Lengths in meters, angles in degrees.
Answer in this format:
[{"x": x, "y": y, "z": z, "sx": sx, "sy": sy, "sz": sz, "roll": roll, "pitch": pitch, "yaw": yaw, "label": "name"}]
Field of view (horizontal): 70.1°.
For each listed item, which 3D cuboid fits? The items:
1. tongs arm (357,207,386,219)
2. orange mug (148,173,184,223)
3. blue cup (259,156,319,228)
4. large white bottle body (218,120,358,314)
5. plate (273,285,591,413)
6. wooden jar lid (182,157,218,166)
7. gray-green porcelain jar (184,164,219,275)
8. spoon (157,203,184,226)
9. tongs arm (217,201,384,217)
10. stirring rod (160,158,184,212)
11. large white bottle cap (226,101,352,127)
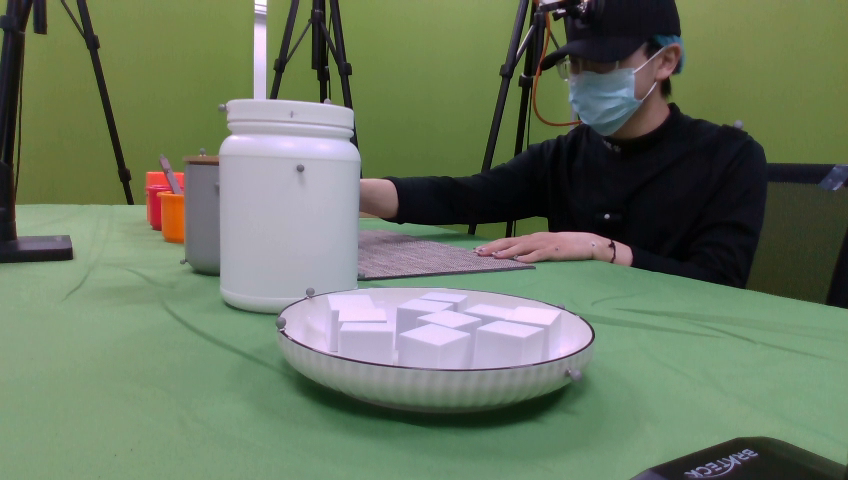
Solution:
[{"x": -0.251, "y": -0.063, "z": 1.360, "sx": 0.387, "sy": 0.026, "sz": 0.050, "roll": -1, "pitch": 5, "yaw": -31, "label": "tongs arm"}, {"x": -0.490, "y": -0.087, "z": 1.222, "sx": 0.127, "sy": 0.101, "sz": 0.083, "roll": -9, "pitch": 13, "yaw": -38, "label": "orange mug"}, {"x": -0.201, "y": -0.071, "z": 0.894, "sx": 0.093, "sy": 0.100, "sz": 0.092, "roll": 5, "pitch": 8, "yaw": 0, "label": "blue cup"}, {"x": -0.128, "y": -0.032, "z": 0.578, "sx": 0.131, "sy": 0.184, "sz": 0.130, "roll": 2, "pitch": 7, "yaw": 0, "label": "large white bottle body"}, {"x": 0.005, "y": 0.069, "z": 0.408, "sx": 0.208, "sy": 0.039, "sz": 0.207, "roll": 2, "pitch": 7, "yaw": 0, "label": "plate"}, {"x": -0.227, "y": -0.086, "z": 0.714, "sx": 0.108, "sy": 0.020, "sz": 0.108, "roll": 1, "pitch": 6, "yaw": 0, "label": "wooden jar lid"}, {"x": -0.230, "y": -0.025, "z": 0.722, "sx": 0.106, "sy": 0.126, "sz": 0.106, "roll": 3, "pitch": 7, "yaw": 0, "label": "gray-green porcelain jar"}, {"x": -0.425, "y": -0.094, "z": 1.117, "sx": 0.041, "sy": 0.022, "sz": 0.194, "roll": 4, "pitch": 51, "yaw": 29, "label": "spoon"}, {"x": -0.287, "y": -0.073, "z": 1.434, "sx": 0.389, "sy": 0.027, "sz": 0.028, "roll": 1, "pitch": 1, "yaw": -17, "label": "tongs arm"}, {"x": -0.391, "y": -0.070, "z": 0.972, "sx": 0.014, "sy": 0.006, "sz": 0.175, "roll": -1, "pitch": 49, "yaw": -49, "label": "stirring rod"}, {"x": -0.125, "y": -0.116, "z": 0.566, "sx": 0.115, "sy": 0.018, "sz": 0.115, "roll": 2, "pitch": 8, "yaw": 0, "label": "large white bottle cap"}]
